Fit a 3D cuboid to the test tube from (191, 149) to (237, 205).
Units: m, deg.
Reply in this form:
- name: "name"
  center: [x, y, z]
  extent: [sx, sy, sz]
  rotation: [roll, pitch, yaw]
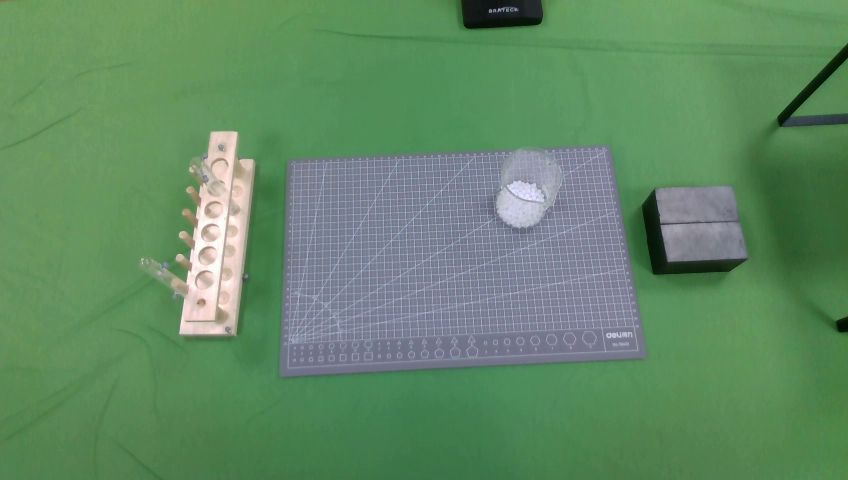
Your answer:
- name: "test tube"
  center: [-0.248, -0.072, 0.723]
  extent: [0.017, 0.151, 0.017]
  rotation: [1, 74, -3]

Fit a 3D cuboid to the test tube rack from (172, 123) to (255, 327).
- name: "test tube rack"
  center: [-0.266, -0.019, 0.756]
  extent: [0.067, 0.086, 0.240]
  rotation: [0, 70, 0]

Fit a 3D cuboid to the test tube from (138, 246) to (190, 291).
- name: "test tube"
  center: [-0.288, 0.036, 0.689]
  extent: [0.017, 0.151, 0.017]
  rotation: [0, 71, 0]

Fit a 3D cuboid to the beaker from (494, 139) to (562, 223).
- name: "beaker"
  center: [0.129, -0.068, 0.766]
  extent: [0.074, 0.101, 0.083]
  rotation: [-30, 73, -10]
